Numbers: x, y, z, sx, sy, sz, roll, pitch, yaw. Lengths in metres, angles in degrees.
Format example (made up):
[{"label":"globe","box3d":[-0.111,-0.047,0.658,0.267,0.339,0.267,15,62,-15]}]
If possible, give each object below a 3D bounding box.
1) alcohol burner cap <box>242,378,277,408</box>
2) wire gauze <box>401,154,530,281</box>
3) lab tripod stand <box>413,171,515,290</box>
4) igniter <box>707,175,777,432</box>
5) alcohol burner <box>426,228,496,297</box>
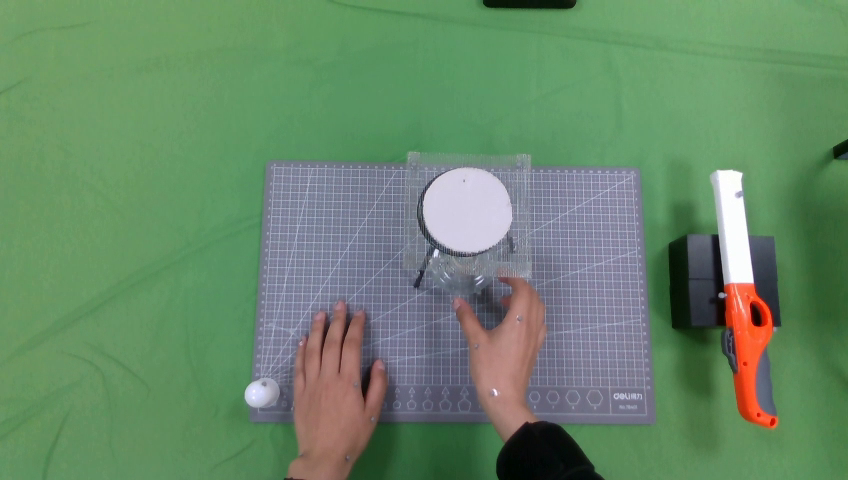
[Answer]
[{"label":"alcohol burner cap","box3d":[-0.178,0.164,0.648,0.034,0.048,0.033,1,76,-3]},{"label":"wire gauze","box3d":[0.041,-0.024,0.580,0.125,0.011,0.121,4,78,-1]},{"label":"lab tripod stand","box3d":[0.033,-0.014,0.647,0.148,0.132,0.147,0,78,0]},{"label":"igniter","box3d":[0.339,0.063,0.652,0.057,0.025,0.275,0,76,-6]},{"label":"alcohol burner","box3d":[0.040,0.021,0.650,0.078,0.119,0.077,0,78,0]}]
